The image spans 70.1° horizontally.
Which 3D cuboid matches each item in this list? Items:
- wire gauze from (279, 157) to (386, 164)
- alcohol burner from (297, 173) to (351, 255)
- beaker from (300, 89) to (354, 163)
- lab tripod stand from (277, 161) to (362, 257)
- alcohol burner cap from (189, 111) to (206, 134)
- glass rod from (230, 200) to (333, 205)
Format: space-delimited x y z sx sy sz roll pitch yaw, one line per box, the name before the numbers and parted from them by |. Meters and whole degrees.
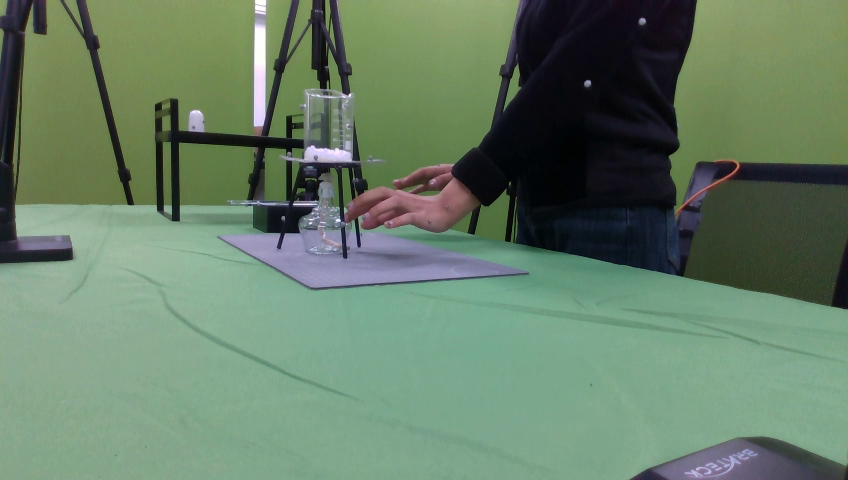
wire gauze | -0.134 -0.113 0.875 0.122 0.011 0.124 -1 6 -30
alcohol burner | -0.144 -0.038 0.880 0.078 0.119 0.078 4 6 0
beaker | -0.137 -0.161 0.869 0.083 0.100 0.074 9 10 42
lab tripod stand | -0.143 -0.049 0.884 0.148 0.131 0.148 2 9 0
alcohol burner cap | -0.469 -0.244 1.252 0.034 0.048 0.034 2 7 0
glass rod | -0.265 -0.070 1.144 0.201 0.008 0.008 -1 8 -31
